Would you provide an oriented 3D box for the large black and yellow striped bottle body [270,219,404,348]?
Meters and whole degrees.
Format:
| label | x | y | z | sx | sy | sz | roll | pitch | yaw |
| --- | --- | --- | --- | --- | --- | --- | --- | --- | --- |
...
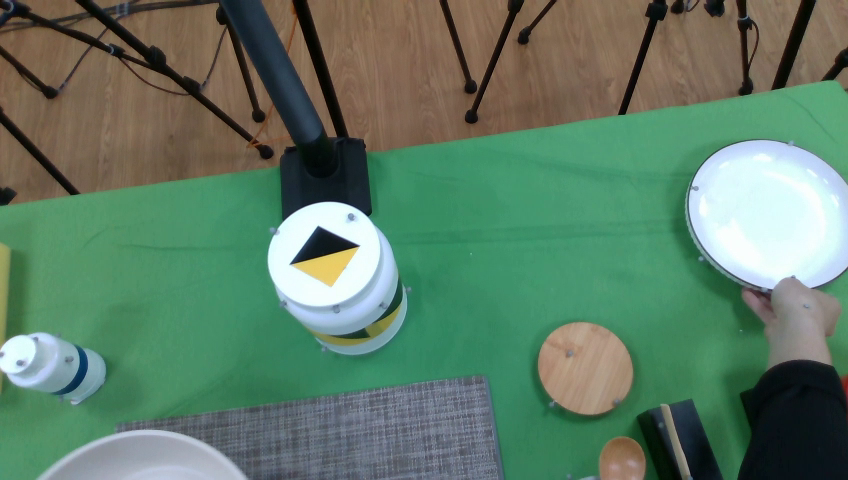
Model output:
| label | x | y | z | sx | sy | sz | roll | pitch | yaw |
| --- | --- | --- | --- | --- | --- | --- | --- | --- | --- |
| large black and yellow striped bottle body | -0.096 | 0.040 | 0.688 | 0.131 | 0.185 | 0.130 | -1 | 68 | 4 |

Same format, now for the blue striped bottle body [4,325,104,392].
| label | x | y | z | sx | sy | sz | roll | pitch | yaw |
| --- | --- | --- | --- | --- | --- | --- | --- | --- | --- |
| blue striped bottle body | -0.436 | 0.138 | 0.707 | 0.063 | 0.121 | 0.062 | -1 | 68 | 4 |

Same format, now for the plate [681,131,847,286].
| label | x | y | z | sx | sy | sz | roll | pitch | yaw |
| --- | --- | --- | --- | --- | --- | --- | --- | --- | --- |
| plate | 0.426 | -0.039 | 0.758 | 0.209 | 0.038 | 0.207 | -2 | 68 | 4 |

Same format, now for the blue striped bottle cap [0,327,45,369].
| label | x | y | z | sx | sy | sz | roll | pitch | yaw |
| --- | --- | --- | --- | --- | --- | --- | --- | --- | --- |
| blue striped bottle cap | -0.441 | 0.117 | 0.660 | 0.044 | 0.021 | 0.044 | -1 | 70 | 3 |

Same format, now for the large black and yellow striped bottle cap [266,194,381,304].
| label | x | y | z | sx | sy | sz | roll | pitch | yaw |
| --- | --- | --- | --- | --- | --- | --- | --- | --- | --- |
| large black and yellow striped bottle cap | -0.101 | 0.007 | 0.610 | 0.115 | 0.019 | 0.114 | -1 | 70 | 4 |

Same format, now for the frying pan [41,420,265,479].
| label | x | y | z | sx | sy | sz | roll | pitch | yaw |
| --- | --- | --- | --- | --- | --- | --- | --- | --- | --- |
| frying pan | -0.309 | 0.420 | 0.566 | 0.306 | 0.103 | 0.485 | 17 | 64 | 11 |

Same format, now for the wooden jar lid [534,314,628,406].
| label | x | y | z | sx | sy | sz | roll | pitch | yaw |
| --- | --- | --- | --- | --- | --- | --- | --- | --- | --- |
| wooden jar lid | 0.184 | 0.142 | 0.716 | 0.108 | 0.021 | 0.107 | -1 | 70 | 4 |

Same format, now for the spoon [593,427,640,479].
| label | x | y | z | sx | sy | sz | roll | pitch | yaw |
| --- | --- | --- | --- | --- | --- | --- | --- | --- | --- |
| spoon | 0.165 | 0.265 | 0.535 | 0.041 | 0.022 | 0.192 | 8 | 73 | 6 |

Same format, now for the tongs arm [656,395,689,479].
| label | x | y | z | sx | sy | sz | roll | pitch | yaw |
| --- | --- | --- | --- | --- | --- | --- | --- | --- | --- |
| tongs arm | 0.306 | 0.338 | 0.588 | 0.051 | 0.026 | 0.383 | -13 | 78 | 0 |

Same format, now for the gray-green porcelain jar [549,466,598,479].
| label | x | y | z | sx | sy | sz | roll | pitch | yaw |
| --- | --- | --- | --- | --- | --- | --- | --- | --- | --- |
| gray-green porcelain jar | 0.164 | 0.282 | 0.604 | 0.106 | 0.127 | 0.105 | -1 | 68 | 4 |

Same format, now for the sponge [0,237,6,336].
| label | x | y | z | sx | sy | sz | roll | pitch | yaw |
| --- | --- | --- | --- | --- | --- | --- | --- | --- | --- |
| sponge | -0.614 | 0.092 | 0.770 | 0.118 | 0.061 | 0.205 | -13 | 69 | -1 |

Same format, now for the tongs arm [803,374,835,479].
| label | x | y | z | sx | sy | sz | roll | pitch | yaw |
| --- | --- | --- | --- | --- | --- | --- | --- | --- | --- |
| tongs arm | 0.389 | 0.326 | 0.584 | 0.028 | 0.028 | 0.386 | 2 | 79 | 0 |
